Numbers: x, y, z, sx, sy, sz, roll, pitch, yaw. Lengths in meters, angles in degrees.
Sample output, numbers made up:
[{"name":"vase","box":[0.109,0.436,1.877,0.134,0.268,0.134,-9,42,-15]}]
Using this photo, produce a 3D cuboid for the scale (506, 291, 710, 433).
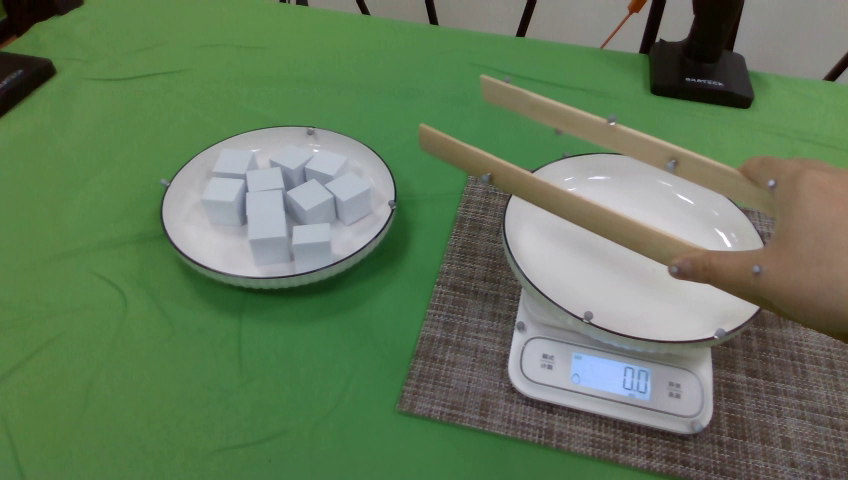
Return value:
[{"name":"scale","box":[0.154,0.050,0.496,0.148,0.032,0.199,12,47,9]}]

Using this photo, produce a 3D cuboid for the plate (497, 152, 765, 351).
[{"name":"plate","box":[0.161,0.007,0.492,0.208,0.039,0.205,2,47,-2]}]

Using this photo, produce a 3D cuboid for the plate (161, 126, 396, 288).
[{"name":"plate","box":[-0.129,-0.031,0.562,0.209,0.038,0.207,2,46,-1]}]

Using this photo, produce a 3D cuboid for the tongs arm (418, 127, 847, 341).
[{"name":"tongs arm","box":[0.150,-0.003,0.376,0.384,0.028,0.028,26,54,28]}]

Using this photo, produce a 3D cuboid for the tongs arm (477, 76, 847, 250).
[{"name":"tongs arm","box":[0.178,-0.031,0.394,0.381,0.027,0.050,28,59,28]}]
